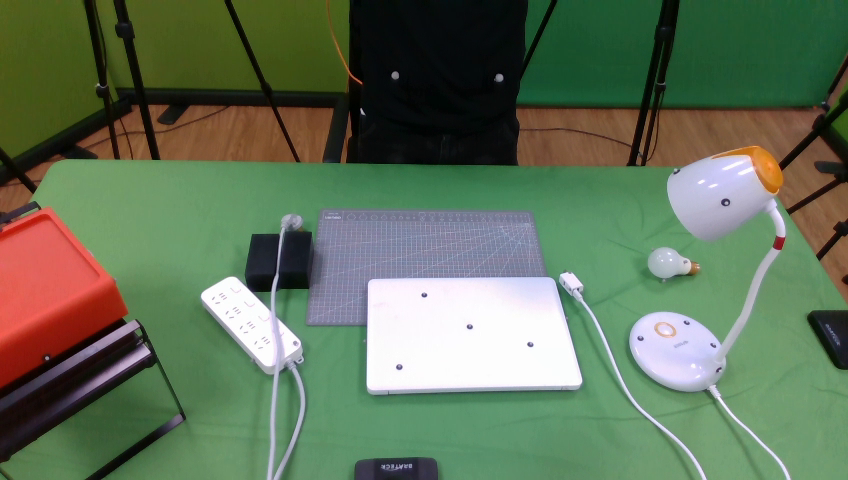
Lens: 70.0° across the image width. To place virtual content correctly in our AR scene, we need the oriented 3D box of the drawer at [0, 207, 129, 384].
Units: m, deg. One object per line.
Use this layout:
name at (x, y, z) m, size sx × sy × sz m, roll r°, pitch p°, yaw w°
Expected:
drawer at (-0.539, 0.074, 0.798) m, size 0.193 × 0.073 × 0.211 m, roll 37°, pitch 55°, yaw 27°

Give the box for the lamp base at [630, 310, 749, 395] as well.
lamp base at (0.447, 0.142, 0.984) m, size 0.161 × 0.181 × 0.178 m, roll -24°, pitch 55°, yaw -24°

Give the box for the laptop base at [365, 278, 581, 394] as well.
laptop base at (0.077, 0.162, 1.053) m, size 0.355 × 0.023 × 0.234 m, roll 0°, pitch 44°, yaw -4°

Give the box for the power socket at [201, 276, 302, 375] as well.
power socket at (-0.296, 0.142, 1.034) m, size 0.072 × 0.033 × 0.225 m, roll -34°, pitch 58°, yaw -30°

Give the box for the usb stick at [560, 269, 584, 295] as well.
usb stick at (0.275, 0.077, 1.142) m, size 0.027 × 0.021 × 0.059 m, roll -12°, pitch 39°, yaw -12°

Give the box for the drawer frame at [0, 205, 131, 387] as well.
drawer frame at (-0.539, 0.075, 0.795) m, size 0.200 × 0.083 × 0.213 m, roll 36°, pitch 55°, yaw 26°

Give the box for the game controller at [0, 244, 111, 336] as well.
game controller at (-0.510, 0.061, 0.830) m, size 0.097 × 0.052 × 0.154 m, roll -31°, pitch 58°, yaw -30°

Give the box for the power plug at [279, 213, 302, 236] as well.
power plug at (-0.264, -0.021, 1.184) m, size 0.035 × 0.053 × 0.072 m, roll 0°, pitch 48°, yaw 32°

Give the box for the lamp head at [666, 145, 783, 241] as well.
lamp head at (0.408, -0.067, 0.806) m, size 0.113 × 0.123 × 0.112 m, roll 15°, pitch 63°, yaw -32°

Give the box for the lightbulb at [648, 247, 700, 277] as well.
lightbulb at (0.485, 0.046, 1.170) m, size 0.108 × 0.060 × 0.059 m, roll 10°, pitch 45°, yaw -16°

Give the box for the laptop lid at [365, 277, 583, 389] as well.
laptop lid at (0.077, 0.152, 1.046) m, size 0.357 × 0.013 × 0.240 m, roll 1°, pitch 45°, yaw -3°
